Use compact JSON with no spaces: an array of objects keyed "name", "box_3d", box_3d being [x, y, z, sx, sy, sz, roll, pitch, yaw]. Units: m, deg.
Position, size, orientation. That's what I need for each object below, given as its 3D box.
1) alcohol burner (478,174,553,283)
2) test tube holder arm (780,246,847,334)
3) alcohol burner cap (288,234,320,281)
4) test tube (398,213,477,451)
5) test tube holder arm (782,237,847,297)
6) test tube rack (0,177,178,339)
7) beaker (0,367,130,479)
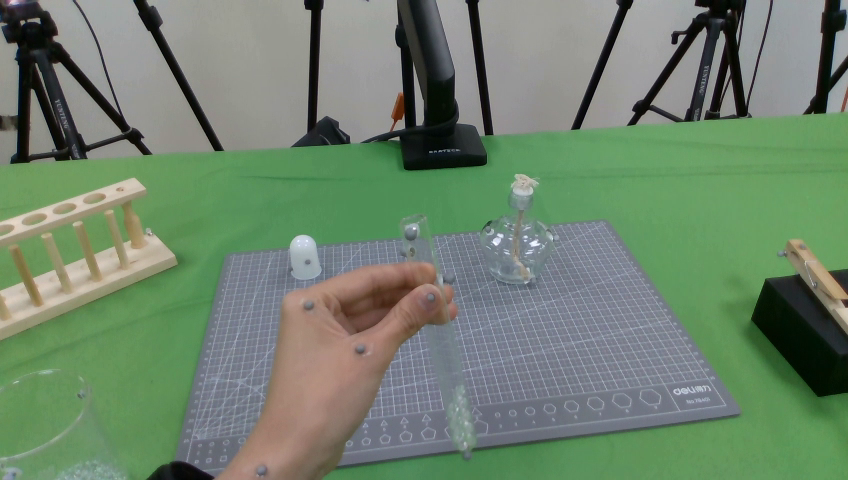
[{"name":"alcohol burner","box_3d":[0.095,-0.015,0.620,0.078,0.120,0.077,1,35,0]},{"name":"test tube holder arm","box_3d":[0.350,0.056,0.514,0.015,0.013,0.177,0,35,2]},{"name":"alcohol burner cap","box_3d":[-0.130,0.016,0.644,0.034,0.048,0.033,-1,35,1]},{"name":"test tube","box_3d":[0.010,0.056,0.339,0.017,0.151,0.017,-11,20,5]},{"name":"test tube holder arm","box_3d":[0.352,0.026,0.547,0.015,0.010,0.087,1,35,2]},{"name":"test tube rack","box_3d":[-0.386,0.025,0.605,0.242,0.086,0.066,-27,43,-33]},{"name":"beaker","box_3d":[-0.253,0.148,0.411,0.084,0.101,0.073,-1,35,2]}]
